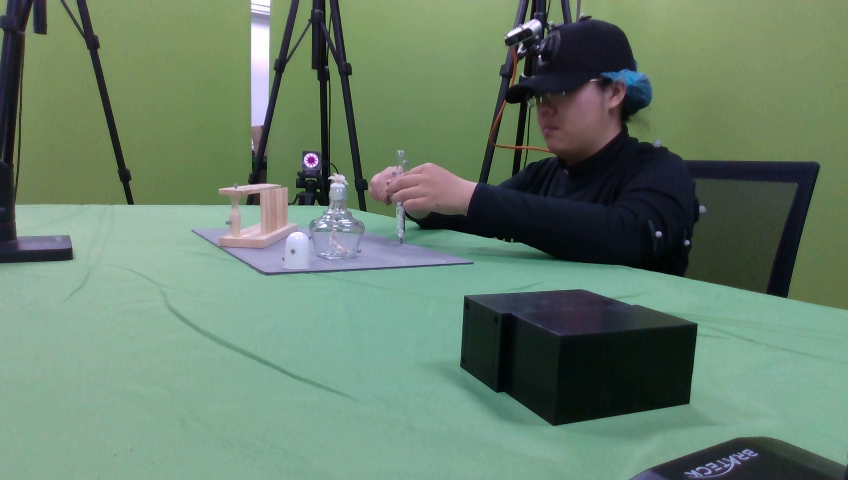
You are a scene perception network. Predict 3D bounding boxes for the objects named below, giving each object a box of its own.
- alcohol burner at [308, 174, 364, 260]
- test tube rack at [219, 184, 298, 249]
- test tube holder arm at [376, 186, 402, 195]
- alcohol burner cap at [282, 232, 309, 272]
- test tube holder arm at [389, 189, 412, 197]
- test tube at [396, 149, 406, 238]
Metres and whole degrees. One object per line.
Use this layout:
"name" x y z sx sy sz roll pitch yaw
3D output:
"alcohol burner" -0.121 -0.033 0.841 0.078 0.119 0.078 3 5 0
"test tube rack" -0.266 -0.046 1.001 0.067 0.085 0.242 3 7 0
"test tube holder arm" -0.065 -0.088 1.081 0.013 0.015 0.178 17 -1 -17
"alcohol burner cap" -0.157 0.014 0.740 0.034 0.048 0.034 3 6 0
"test tube holder arm" -0.044 -0.083 1.042 0.010 0.015 0.087 17 -1 -28
"test tube" -0.038 -0.078 1.015 0.017 0.150 0.017 1 5 0
